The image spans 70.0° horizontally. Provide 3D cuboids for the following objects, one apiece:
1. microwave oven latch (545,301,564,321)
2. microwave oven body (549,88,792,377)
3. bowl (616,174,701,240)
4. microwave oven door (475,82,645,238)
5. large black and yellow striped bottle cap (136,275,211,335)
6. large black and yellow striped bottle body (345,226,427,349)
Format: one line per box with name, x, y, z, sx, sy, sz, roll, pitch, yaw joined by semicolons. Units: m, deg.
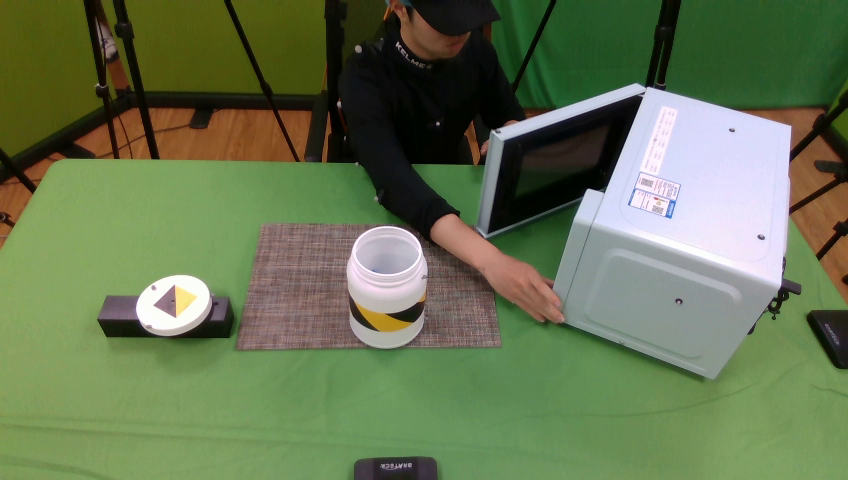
microwave oven latch;0.246;0.107;1.076;0.030;0.029;0.079;35;53;28
microwave oven body;0.455;-0.028;1.088;0.325;0.261;0.440;20;47;16
bowl;0.434;-0.052;1.142;0.151;0.077;0.150;-3;37;2
microwave oven door;0.268;-0.158;1.192;0.356;0.245;0.039;-22;51;-23
large black and yellow striped bottle cap;-0.412;0.105;0.998;0.115;0.019;0.114;3;46;-3
large black and yellow striped bottle body;-0.062;0.078;0.998;0.131;0.185;0.130;2;46;-2
